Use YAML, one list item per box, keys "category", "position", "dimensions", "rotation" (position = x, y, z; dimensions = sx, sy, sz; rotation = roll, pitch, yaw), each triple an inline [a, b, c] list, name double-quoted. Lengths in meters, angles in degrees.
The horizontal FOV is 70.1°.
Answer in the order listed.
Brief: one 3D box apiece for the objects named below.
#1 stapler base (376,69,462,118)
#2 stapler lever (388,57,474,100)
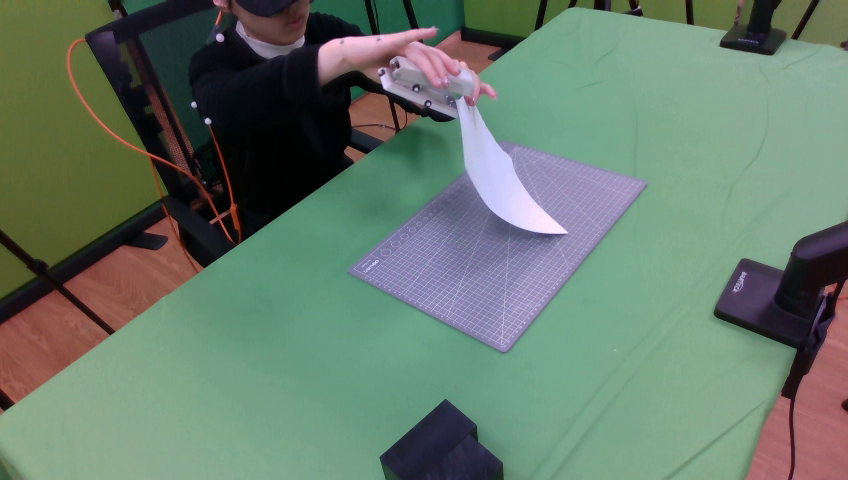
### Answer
- category: "stapler base"
  position: [0.000, -0.196, 0.790]
  dimensions: [0.132, 0.024, 0.041]
  rotation: [11, 43, -36]
- category: "stapler lever"
  position: [0.012, -0.211, 0.775]
  dimensions: [0.119, 0.040, 0.026]
  rotation: [11, 43, -36]
